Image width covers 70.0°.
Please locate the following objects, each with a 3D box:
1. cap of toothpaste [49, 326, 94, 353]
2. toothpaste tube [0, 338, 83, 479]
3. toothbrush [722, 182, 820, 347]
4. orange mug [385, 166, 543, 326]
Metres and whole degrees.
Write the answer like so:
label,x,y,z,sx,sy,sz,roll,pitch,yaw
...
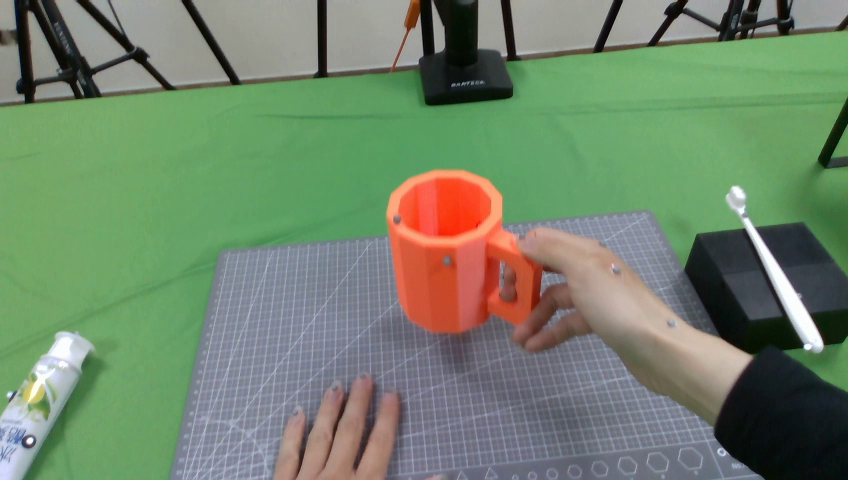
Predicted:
label,x,y,z,sx,sy,sz,roll,pitch,yaw
cap of toothpaste,-0.305,0.087,0.521,0.037,0.038,0.011,4,49,8
toothpaste tube,-0.319,0.146,0.472,0.055,0.035,0.163,1,49,11
toothbrush,0.288,0.013,0.508,0.014,0.017,0.180,1,45,-1
orange mug,0.032,0.010,0.467,0.125,0.102,0.083,21,49,30
